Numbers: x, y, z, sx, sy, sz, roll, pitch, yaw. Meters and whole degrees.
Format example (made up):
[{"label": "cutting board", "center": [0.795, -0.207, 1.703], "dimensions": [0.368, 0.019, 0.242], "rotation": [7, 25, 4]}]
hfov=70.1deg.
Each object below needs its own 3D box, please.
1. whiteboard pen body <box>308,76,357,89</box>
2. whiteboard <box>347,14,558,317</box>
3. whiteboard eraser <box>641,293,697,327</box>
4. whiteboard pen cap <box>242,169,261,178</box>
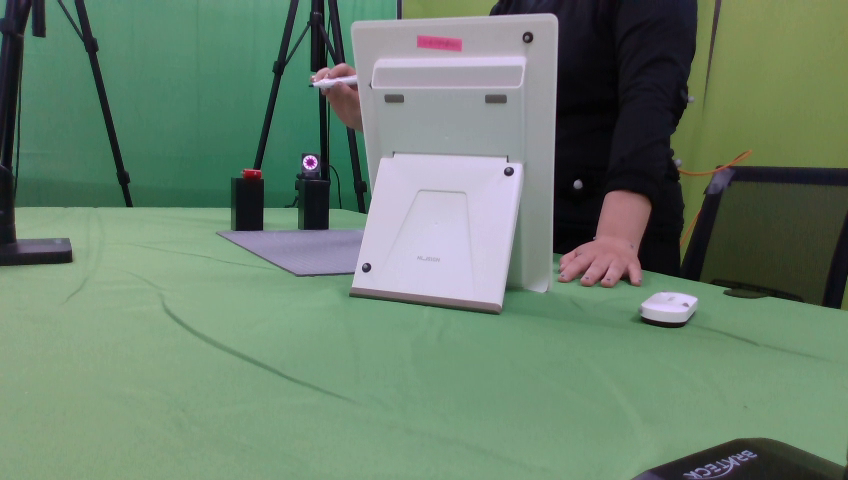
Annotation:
[{"label": "whiteboard pen body", "center": [-0.139, -0.275, 1.049], "dimensions": [0.141, 0.017, 0.017], "rotation": [-20, 19, -36]}, {"label": "whiteboard", "center": [0.012, -0.056, 0.609], "dimensions": [0.216, 0.305, 0.144], "rotation": [5, 27, 20]}, {"label": "whiteboard eraser", "center": [0.240, 0.066, 0.590], "dimensions": [0.041, 0.019, 0.102], "rotation": [6, 7, 31]}, {"label": "whiteboard pen cap", "center": [-0.326, -0.126, 1.144], "dimensions": [0.032, 0.017, 0.017], "rotation": [0, 7, -37]}]
